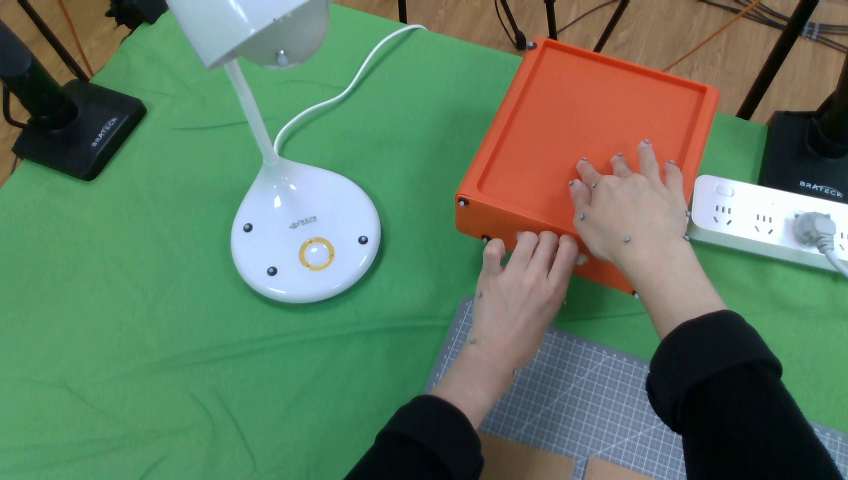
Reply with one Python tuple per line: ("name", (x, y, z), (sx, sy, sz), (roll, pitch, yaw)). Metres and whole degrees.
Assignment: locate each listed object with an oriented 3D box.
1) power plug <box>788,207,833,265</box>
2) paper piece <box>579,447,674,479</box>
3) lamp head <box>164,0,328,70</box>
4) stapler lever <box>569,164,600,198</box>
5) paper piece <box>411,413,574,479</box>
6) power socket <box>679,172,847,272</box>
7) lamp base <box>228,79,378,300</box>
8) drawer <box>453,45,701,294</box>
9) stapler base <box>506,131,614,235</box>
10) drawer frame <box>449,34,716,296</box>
("power plug", (0.382, -0.002, 0.608), (0.035, 0.053, 0.072), (24, 66, 13))
("paper piece", (0.187, 0.265, 0.512), (0.135, 0.004, 0.135), (18, 65, 11))
("lamp head", (-0.104, -0.169, 0.323), (0.112, 0.112, 0.123), (-38, 106, -17))
("stapler lever", (0.127, -0.071, 0.591), (0.027, 0.040, 0.117), (-40, 64, 0))
("paper piece", (0.051, 0.236, 0.531), (0.135, 0.009, 0.137), (14, 65, 12))
("power socket", (0.381, -0.018, 0.642), (0.226, 0.033, 0.072), (14, 65, 8))
("lamp base", (-0.139, -0.055, 0.590), (0.160, 0.182, 0.177), (-31, 63, -14))
("drawer", (0.156, -0.077, 0.601), (0.194, 0.074, 0.210), (20, 65, 12))
("stapler base", (0.136, -0.062, 0.614), (0.041, 0.024, 0.129), (-40, 65, 0))
("drawer frame", (0.157, -0.081, 0.606), (0.201, 0.083, 0.212), (20, 66, 12))
